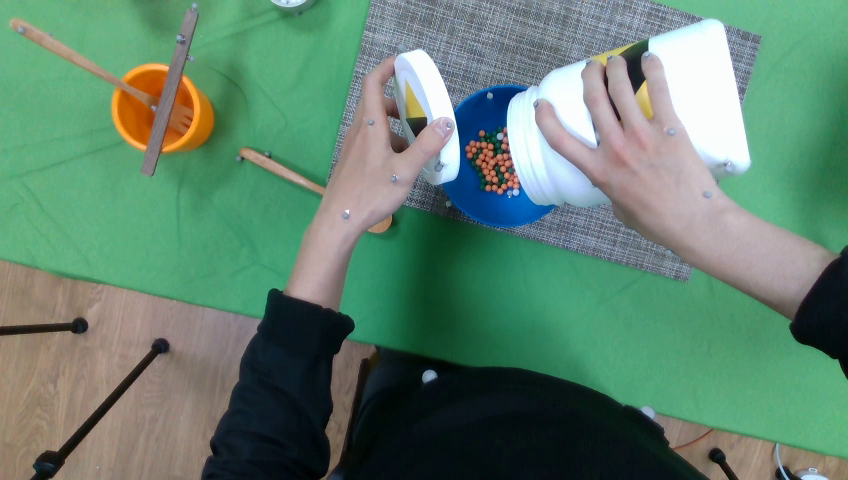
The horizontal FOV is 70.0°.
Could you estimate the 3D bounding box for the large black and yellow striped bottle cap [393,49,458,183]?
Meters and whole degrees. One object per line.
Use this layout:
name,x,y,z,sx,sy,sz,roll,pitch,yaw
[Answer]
large black and yellow striped bottle cap,-0.001,-0.106,0.526,0.019,0.114,0.115,-18,95,-13

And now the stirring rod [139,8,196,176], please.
stirring rod,-0.263,-0.151,0.620,0.014,0.006,0.176,17,95,-5

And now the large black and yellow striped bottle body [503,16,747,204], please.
large black and yellow striped bottle body,0.176,-0.105,0.540,0.183,0.131,0.131,-12,96,28

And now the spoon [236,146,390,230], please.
spoon,-0.128,-0.065,0.700,0.194,0.021,0.042,25,108,-5

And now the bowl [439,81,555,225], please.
bowl,0.083,-0.093,0.674,0.151,0.076,0.151,0,96,-2

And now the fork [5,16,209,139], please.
fork,-0.314,-0.161,0.619,0.028,0.018,0.209,-54,138,5

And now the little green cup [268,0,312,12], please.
little green cup,-0.150,-0.284,0.670,0.061,0.038,0.061,0,95,-1
